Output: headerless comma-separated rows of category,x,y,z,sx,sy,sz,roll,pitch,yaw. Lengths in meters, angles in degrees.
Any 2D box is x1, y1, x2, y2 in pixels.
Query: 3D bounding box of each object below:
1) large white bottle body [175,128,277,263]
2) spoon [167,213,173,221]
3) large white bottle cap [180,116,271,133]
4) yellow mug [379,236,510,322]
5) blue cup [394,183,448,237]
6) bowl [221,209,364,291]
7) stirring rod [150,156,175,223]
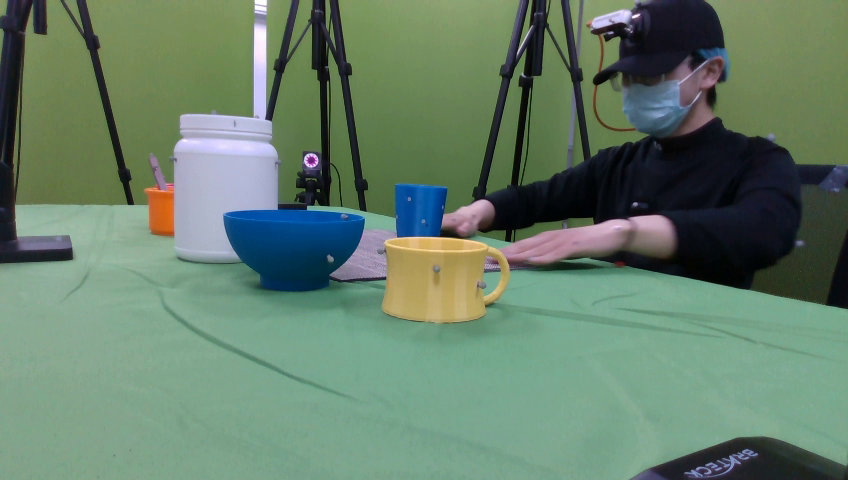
large white bottle body,-0.265,-0.068,0.814,0.131,0.184,0.130,2,7,0
spoon,-0.447,-0.104,1.192,0.041,0.022,0.193,7,52,14
large white bottle cap,-0.262,-0.152,0.803,0.115,0.018,0.115,2,7,0
yellow mug,0.024,0.034,0.575,0.131,0.064,0.099,1,7,-22
blue cup,-0.009,-0.037,0.954,0.093,0.100,0.092,4,7,0
bowl,-0.142,0.011,0.660,0.151,0.077,0.151,2,7,0
stirring rod,-0.446,-0.083,1.048,0.014,0.006,0.175,0,49,-47
